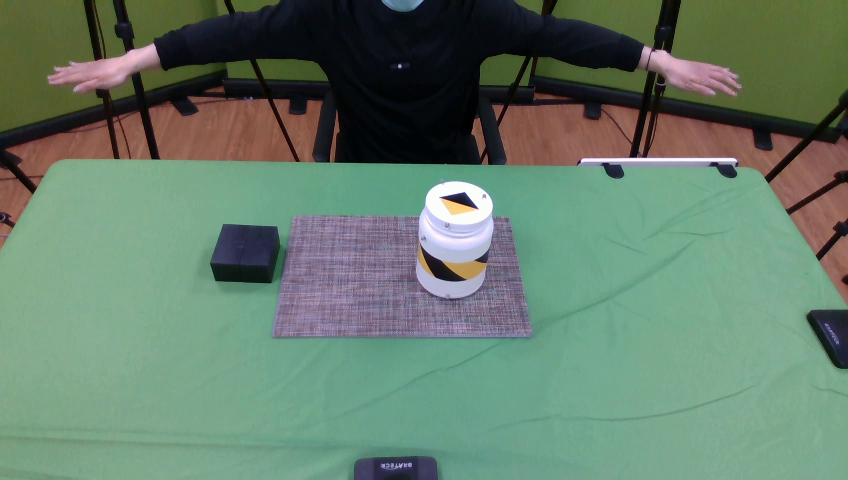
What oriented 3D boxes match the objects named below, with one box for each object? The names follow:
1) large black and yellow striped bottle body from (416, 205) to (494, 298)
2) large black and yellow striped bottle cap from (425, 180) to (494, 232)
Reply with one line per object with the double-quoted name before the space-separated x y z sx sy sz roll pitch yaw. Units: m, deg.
"large black and yellow striped bottle body" 0.054 0.001 1.080 0.131 0.185 0.130 2 46 -2
"large black and yellow striped bottle cap" 0.060 -0.059 1.017 0.115 0.019 0.114 2 44 -2
